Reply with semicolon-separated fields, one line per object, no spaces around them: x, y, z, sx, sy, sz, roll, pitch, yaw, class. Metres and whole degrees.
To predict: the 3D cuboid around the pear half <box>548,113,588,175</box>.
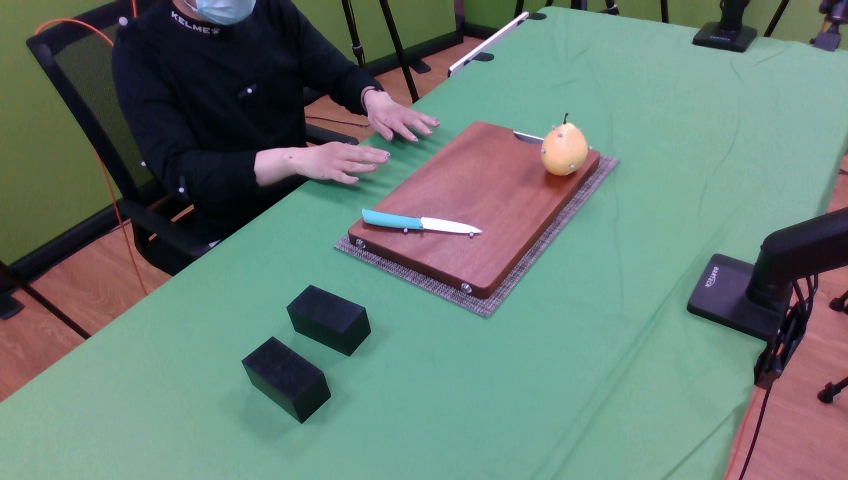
0.245;-0.170;1.020;0.056;0.110;0.075;-36;52;-29;pear half

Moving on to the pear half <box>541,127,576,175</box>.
0.219;-0.145;1.010;0.070;0.088;0.031;35;55;29;pear half

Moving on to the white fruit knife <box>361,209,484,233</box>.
-0.006;-0.027;0.960;0.207;0.016;0.027;7;56;14;white fruit knife
